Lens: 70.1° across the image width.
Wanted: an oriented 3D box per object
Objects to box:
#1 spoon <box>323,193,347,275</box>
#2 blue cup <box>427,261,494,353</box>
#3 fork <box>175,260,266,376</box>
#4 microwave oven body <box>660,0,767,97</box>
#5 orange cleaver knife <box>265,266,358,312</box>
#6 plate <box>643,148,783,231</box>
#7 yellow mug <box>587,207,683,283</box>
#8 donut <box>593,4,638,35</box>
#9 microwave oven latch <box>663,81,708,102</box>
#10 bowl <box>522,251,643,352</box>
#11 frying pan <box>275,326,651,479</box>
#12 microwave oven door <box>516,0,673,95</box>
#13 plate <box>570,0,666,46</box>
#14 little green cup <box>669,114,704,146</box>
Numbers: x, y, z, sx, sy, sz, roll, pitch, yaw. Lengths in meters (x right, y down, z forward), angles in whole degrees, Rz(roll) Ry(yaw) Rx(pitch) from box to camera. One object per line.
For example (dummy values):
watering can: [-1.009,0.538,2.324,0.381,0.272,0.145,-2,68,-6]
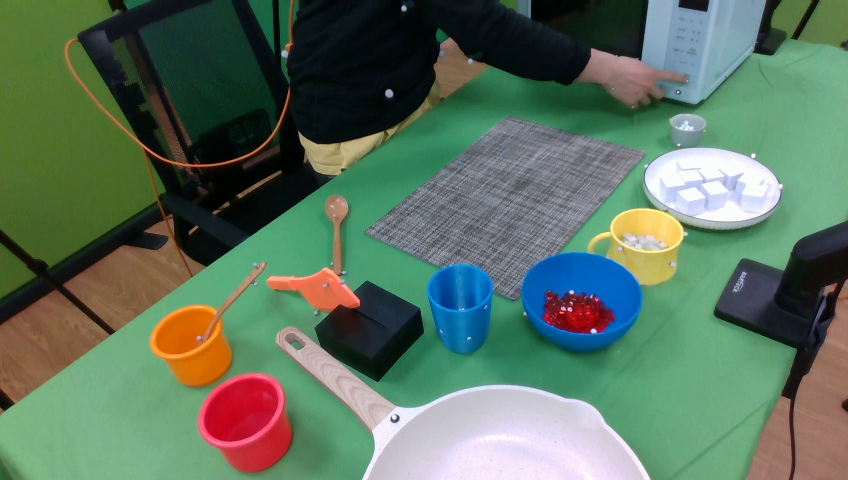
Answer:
spoon: [-0.148,-0.014,1.008,0.042,0.021,0.192,4,39,-12]
blue cup: [0.050,0.095,0.791,0.092,0.100,0.092,-3,42,3]
fork: [-0.268,0.103,0.792,0.207,0.019,0.028,-51,41,16]
microwave oven body: [0.473,-0.516,1.313,0.438,0.261,0.327,26,51,34]
orange cleaver knife: [-0.164,0.073,0.864,0.210,0.077,0.012,-6,31,50]
plate: [0.464,-0.080,0.986,0.207,0.039,0.206,-4,41,4]
yellow mug: [0.305,0.009,0.885,0.131,0.064,0.099,-4,41,5]
donut: [0.428,-0.493,1.352,0.099,0.048,0.098,-7,42,7]
microwave oven latch: [0.519,-0.299,1.202,0.078,0.029,0.030,30,54,36]
bowl: [0.204,0.093,0.792,0.151,0.077,0.150,-4,40,4]
frying pan: [0.004,0.229,0.641,0.484,0.103,0.308,34,54,28]
microwave oven door: [0.344,-0.458,1.257,0.353,0.245,0.039,26,52,33]
plate: [0.436,-0.487,1.368,0.209,0.038,0.208,-4,40,4]
little green cup: [0.485,-0.203,1.123,0.061,0.039,0.061,-5,39,5]
